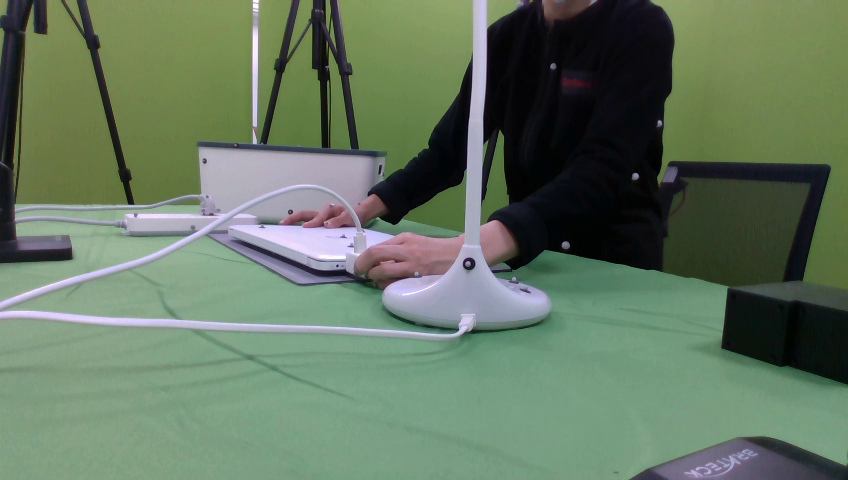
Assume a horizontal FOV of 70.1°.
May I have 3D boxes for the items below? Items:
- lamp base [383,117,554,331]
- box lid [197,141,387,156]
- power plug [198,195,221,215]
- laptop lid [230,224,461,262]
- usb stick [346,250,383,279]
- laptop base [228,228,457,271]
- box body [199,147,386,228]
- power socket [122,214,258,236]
[{"bbox_3d":[0.045,-0.019,0.547,0.161,0.180,0.179,2,10,-4],"label":"lamp base"},{"bbox_3d":[-0.275,-0.198,1.325,0.372,0.015,0.263,3,8,1],"label":"box lid"},{"bbox_3d":[-0.387,-0.055,1.089,0.035,0.052,0.072,-1,6,-22],"label":"power plug"},{"bbox_3d":[-0.119,0.001,0.889,0.243,0.013,0.355,1,7,-33],"label":"laptop lid"},{"bbox_3d":[-0.072,0.027,0.688,0.021,0.027,0.059,-14,12,-35],"label":"usb stick"},{"bbox_3d":[-0.122,0.012,0.889,0.237,0.023,0.352,2,6,-35],"label":"laptop base"},{"bbox_3d":[-0.276,-0.124,1.334,0.364,0.160,0.254,3,7,1],"label":"box body"},{"bbox_3d":[-0.399,-0.028,1.049,0.228,0.032,0.072,-3,8,-34],"label":"power socket"}]
